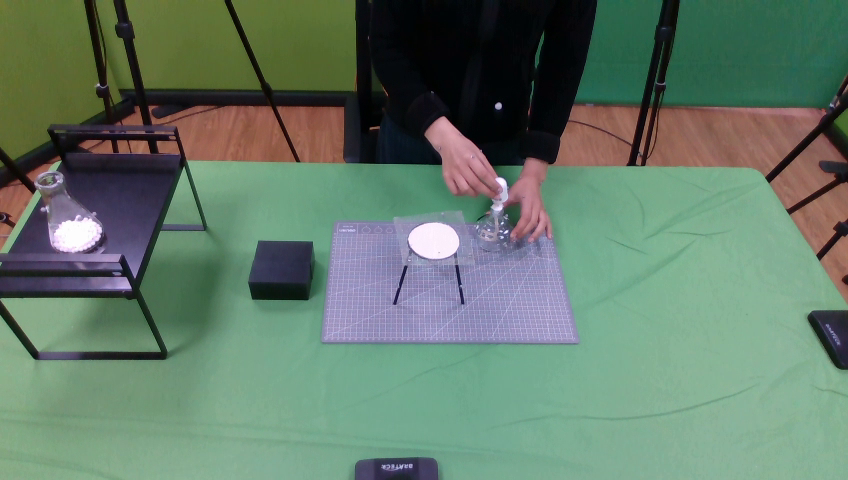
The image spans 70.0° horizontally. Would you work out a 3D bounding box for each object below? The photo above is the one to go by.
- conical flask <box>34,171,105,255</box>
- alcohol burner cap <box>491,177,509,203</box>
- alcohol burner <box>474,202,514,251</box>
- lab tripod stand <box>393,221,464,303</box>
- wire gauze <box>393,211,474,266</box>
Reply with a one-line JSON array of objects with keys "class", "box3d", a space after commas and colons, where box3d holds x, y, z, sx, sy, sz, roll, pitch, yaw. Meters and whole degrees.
[{"class": "conical flask", "box3d": [-0.522, -0.043, 0.879, 0.075, 0.122, 0.075, 2, 46, -2]}, {"class": "alcohol burner cap", "box3d": [0.137, -0.093, 1.103, 0.034, 0.048, 0.033, -4, 53, 6]}, {"class": "alcohol burner", "box3d": [0.137, -0.035, 1.175, 0.078, 0.120, 0.077, 1, 48, -1]}, {"class": "lab tripod stand", "box3d": [0.010, 0.045, 1.075, 0.148, 0.132, 0.147, 2, 48, -2]}, {"class": "wire gauze", "box3d": [0.015, -0.003, 1.028, 0.125, 0.011, 0.120, -4, 47, -7]}]
